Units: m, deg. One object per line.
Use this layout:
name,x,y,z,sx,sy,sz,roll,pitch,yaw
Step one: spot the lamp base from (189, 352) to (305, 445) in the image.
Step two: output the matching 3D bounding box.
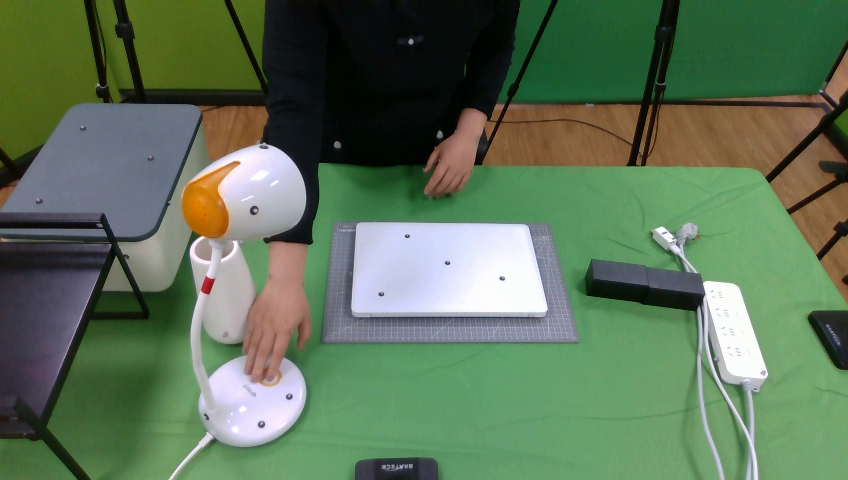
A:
lamp base,-0.267,0.196,0.876,0.160,0.181,0.179,26,52,20

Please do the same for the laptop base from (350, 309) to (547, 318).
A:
laptop base,0.042,0.056,1.149,0.355,0.023,0.234,0,43,-4

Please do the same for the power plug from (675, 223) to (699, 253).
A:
power plug,0.537,0.000,1.243,0.053,0.035,0.072,20,81,-18

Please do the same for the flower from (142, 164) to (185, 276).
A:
flower,-0.492,-0.055,1.173,0.044,0.038,0.359,-40,34,19

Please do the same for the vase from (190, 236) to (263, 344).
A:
vase,-0.317,0.081,0.971,0.098,0.201,0.097,3,47,-3

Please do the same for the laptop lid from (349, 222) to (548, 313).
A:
laptop lid,0.042,0.046,1.142,0.357,0.013,0.240,2,44,-3

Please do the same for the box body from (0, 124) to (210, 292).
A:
box body,-0.567,-0.082,1.133,0.254,0.161,0.361,2,46,-3

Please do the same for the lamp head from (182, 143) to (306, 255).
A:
lamp head,-0.215,-0.044,0.697,0.112,0.113,0.123,23,31,17

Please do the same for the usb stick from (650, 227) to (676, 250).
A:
usb stick,0.485,-0.007,1.238,0.021,0.027,0.059,-23,44,-13

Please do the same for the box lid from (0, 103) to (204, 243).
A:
box lid,-0.563,-0.132,1.079,0.263,0.015,0.369,1,46,-3

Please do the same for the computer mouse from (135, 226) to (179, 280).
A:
computer mouse,-0.492,0.020,1.118,0.063,0.041,0.116,1,54,-10

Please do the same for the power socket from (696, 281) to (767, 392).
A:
power socket,0.543,0.161,1.077,0.072,0.033,0.225,6,46,2
